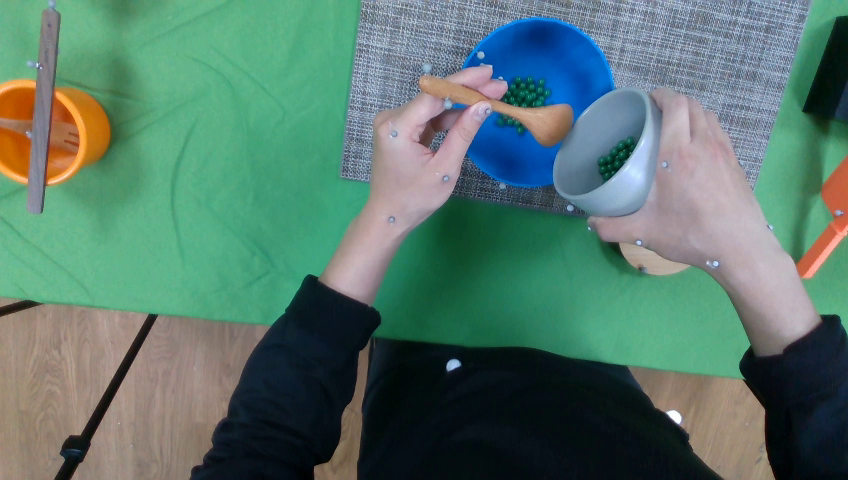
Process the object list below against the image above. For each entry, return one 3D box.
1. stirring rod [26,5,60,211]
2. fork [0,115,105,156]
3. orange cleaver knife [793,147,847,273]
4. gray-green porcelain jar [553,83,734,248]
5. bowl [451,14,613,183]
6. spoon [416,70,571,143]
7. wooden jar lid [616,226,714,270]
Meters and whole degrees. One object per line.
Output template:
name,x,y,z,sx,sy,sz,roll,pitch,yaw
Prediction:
stirring rod,-0.326,-0.109,0.517,0.014,0.006,0.176,12,106,-11
fork,-0.379,-0.109,0.513,0.028,0.018,0.209,-52,148,17
orange cleaver knife,0.451,-0.052,0.644,0.012,0.076,0.213,4,135,-9
gray-green porcelain jar,0.194,-0.059,0.529,0.127,0.105,0.106,27,103,-24
bowl,0.096,-0.135,0.584,0.151,0.076,0.152,-1,106,-5
spoon,0.061,-0.106,0.473,0.195,0.021,0.042,3,122,-44
wooden jar lid,0.262,-0.020,0.664,0.108,0.020,0.109,-1,112,-3
